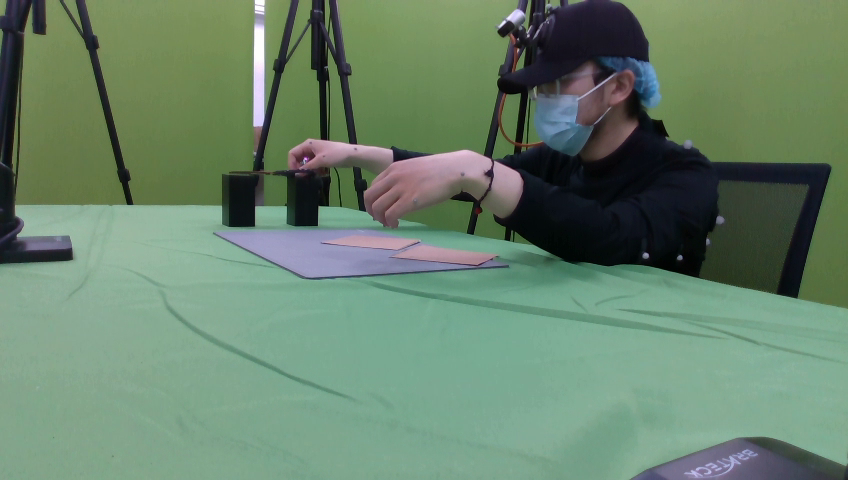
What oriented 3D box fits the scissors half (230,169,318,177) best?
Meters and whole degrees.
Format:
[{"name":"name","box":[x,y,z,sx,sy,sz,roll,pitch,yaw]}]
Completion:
[{"name":"scissors half","box":[-0.297,-0.137,1.210,0.176,0.013,0.040,-1,-3,-27]}]

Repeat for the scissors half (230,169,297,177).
[{"name":"scissors half","box":[-0.308,-0.137,1.226,0.176,0.013,0.040,0,2,-42]}]

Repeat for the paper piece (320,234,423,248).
[{"name":"paper piece","box":[-0.084,0.000,1.017,0.135,0.004,0.136,5,8,17]}]

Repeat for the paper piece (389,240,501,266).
[{"name":"paper piece","box":[0.034,0.020,0.906,0.138,0.008,0.136,8,12,20]}]
